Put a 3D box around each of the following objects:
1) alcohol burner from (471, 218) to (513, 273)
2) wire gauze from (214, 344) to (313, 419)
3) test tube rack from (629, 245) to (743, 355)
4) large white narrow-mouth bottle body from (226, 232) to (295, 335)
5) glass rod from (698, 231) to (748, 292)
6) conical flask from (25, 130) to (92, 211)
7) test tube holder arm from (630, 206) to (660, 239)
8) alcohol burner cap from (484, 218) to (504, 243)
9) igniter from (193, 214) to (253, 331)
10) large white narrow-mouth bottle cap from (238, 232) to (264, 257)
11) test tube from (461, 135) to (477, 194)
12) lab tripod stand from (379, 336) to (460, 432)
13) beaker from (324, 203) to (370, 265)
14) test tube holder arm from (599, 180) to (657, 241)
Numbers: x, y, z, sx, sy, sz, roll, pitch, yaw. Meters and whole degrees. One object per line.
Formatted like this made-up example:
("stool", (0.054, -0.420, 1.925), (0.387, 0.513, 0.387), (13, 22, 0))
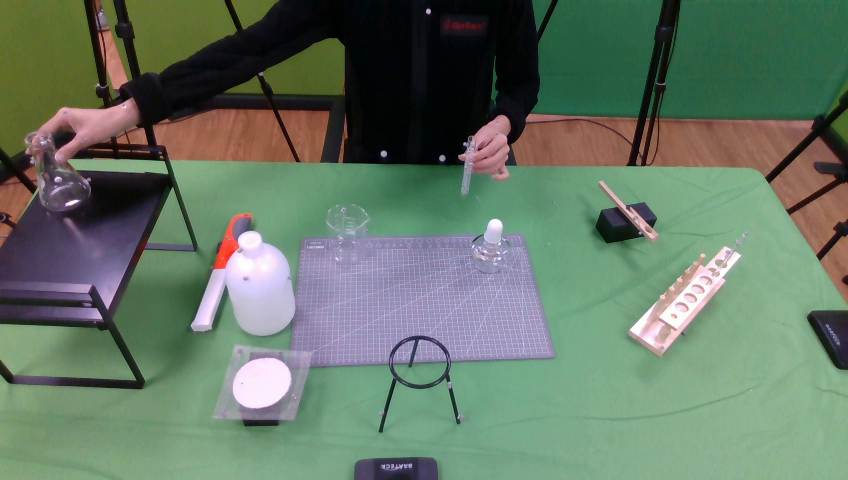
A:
("alcohol burner", (0.128, 0.005, 1.132), (0.078, 0.120, 0.077), (0, 47, 0))
("wire gauze", (-0.241, 0.213, 0.915), (0.121, 0.011, 0.124), (5, 46, 1))
("test tube rack", (0.474, 0.095, 1.091), (0.242, 0.085, 0.066), (-34, 56, -31))
("large white narrow-mouth bottle body", (-0.270, 0.065, 0.995), (0.102, 0.195, 0.101), (2, 46, -2))
("glass rod", (0.514, 0.044, 1.051), (0.008, 0.200, 0.008), (1, 55, -1))
("conical flask", (-0.576, -0.111, 0.944), (0.075, 0.122, 0.075), (2, 46, -2))
("test tube holder arm", (0.432, -0.034, 1.192), (0.010, 0.015, 0.087), (-23, 51, -12))
("alcohol burner cap", (0.130, -0.021, 1.106), (0.034, 0.048, 0.033), (3, 51, -4))
("igniter", (-0.368, 0.050, 1.119), (0.057, 0.025, 0.275), (-3, 46, 8))
("large white narrow-mouth bottle cap", (-0.266, 0.007, 0.933), (0.038, 0.024, 0.037), (2, 46, -2))
("test tube", (0.079, -0.132, 1.086), (0.017, 0.151, 0.017), (1, 56, -2))
("lab tripod stand", (-0.010, 0.214, 0.911), (0.148, 0.132, 0.147), (1, 45, 0))
("beaker", (-0.142, -0.009, 1.137), (0.084, 0.101, 0.073), (-3, 47, -7))
("test tube holder arm", (0.407, -0.062, 1.219), (0.013, 0.015, 0.177), (-23, 51, -12))
